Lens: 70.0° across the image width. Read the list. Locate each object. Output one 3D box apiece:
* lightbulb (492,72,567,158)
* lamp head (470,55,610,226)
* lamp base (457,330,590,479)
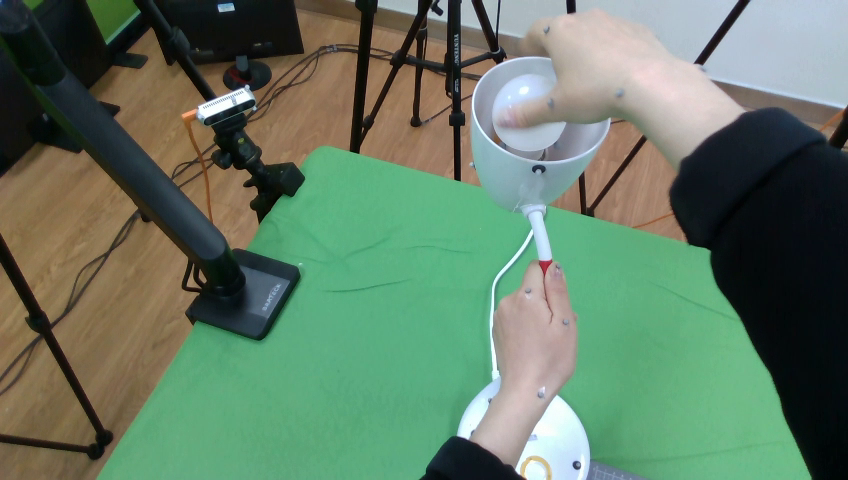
[{"bbox_3d":[0.085,-0.091,0.505,0.059,0.108,0.059,-1,62,2],"label":"lightbulb"},{"bbox_3d":[0.092,-0.076,0.526,0.112,0.124,0.111,1,56,-1],"label":"lamp head"},{"bbox_3d":[0.114,0.191,0.675,0.161,0.182,0.177,-20,55,-13],"label":"lamp base"}]
